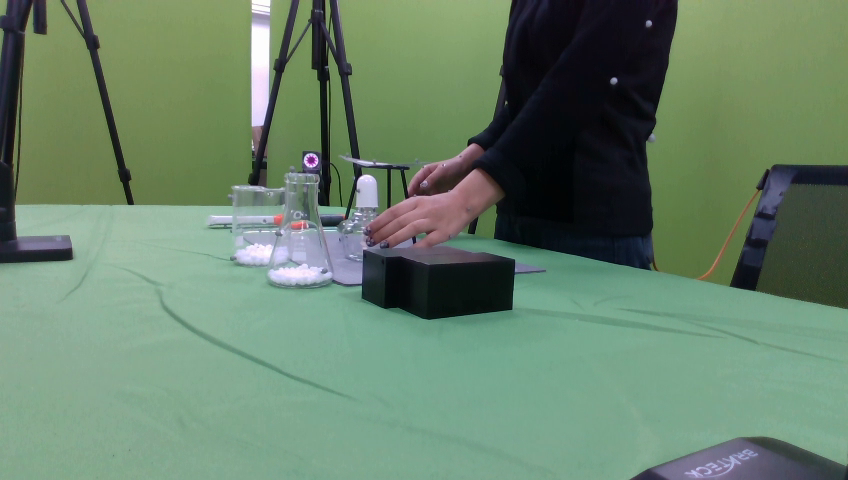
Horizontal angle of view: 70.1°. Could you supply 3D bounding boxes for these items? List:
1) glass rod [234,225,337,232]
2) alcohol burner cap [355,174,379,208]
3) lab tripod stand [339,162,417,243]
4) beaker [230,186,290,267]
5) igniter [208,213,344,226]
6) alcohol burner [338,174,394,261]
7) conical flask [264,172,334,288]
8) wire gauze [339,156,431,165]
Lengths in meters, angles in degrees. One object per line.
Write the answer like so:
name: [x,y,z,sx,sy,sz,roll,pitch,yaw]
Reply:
glass rod: [-0.256,-0.022,1.136,0.201,0.008,0.008,-3,8,-33]
alcohol burner cap: [-0.079,-0.067,0.830,0.034,0.048,0.034,-1,1,0]
lab tripod stand: [-0.067,-0.065,1.027,0.148,0.131,0.148,4,7,0]
beaker: [-0.209,-0.019,0.778,0.074,0.100,0.084,3,6,4]
igniter: [-0.283,-0.041,1.200,0.278,0.025,0.057,-2,-2,-34]
alcohol burner: [-0.079,-0.031,0.834,0.078,0.119,0.078,4,5,0]
conical flask: [-0.136,-0.013,0.660,0.075,0.122,0.075,2,7,0]
wire gauze: [-0.067,-0.132,1.022,0.122,0.011,0.124,-1,9,-31]
